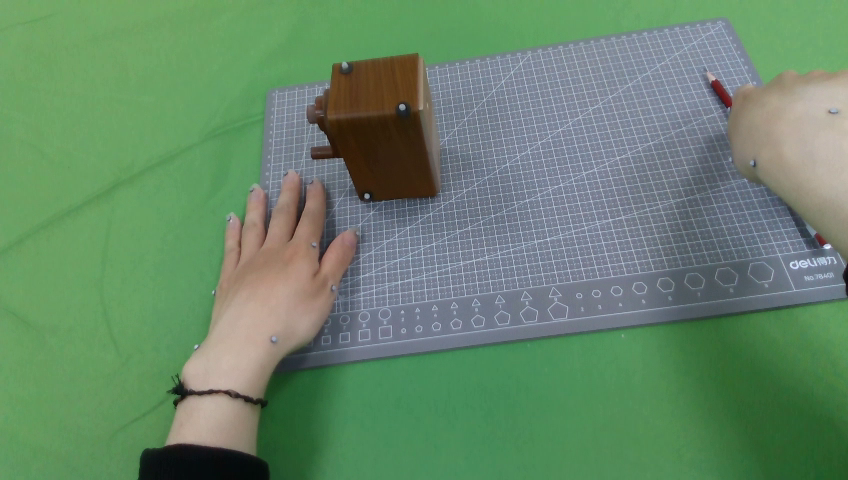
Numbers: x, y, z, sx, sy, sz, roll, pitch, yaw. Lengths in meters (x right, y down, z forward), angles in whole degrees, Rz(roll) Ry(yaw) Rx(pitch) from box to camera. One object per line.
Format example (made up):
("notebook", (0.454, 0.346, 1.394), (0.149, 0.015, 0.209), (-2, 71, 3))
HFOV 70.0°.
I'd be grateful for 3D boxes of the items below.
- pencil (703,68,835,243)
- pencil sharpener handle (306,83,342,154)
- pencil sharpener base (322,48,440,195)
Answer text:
("pencil", (0.269, -0.076, 0.485), (0.012, 0.012, 0.192), (-15, 56, 0))
("pencil sharpener handle", (-0.083, -0.092, 0.477), (0.030, 0.068, 0.035), (-4, 57, 7))
("pencil sharpener base", (-0.031, -0.089, 0.482), (0.076, 0.108, 0.061), (-4, 58, 7))
